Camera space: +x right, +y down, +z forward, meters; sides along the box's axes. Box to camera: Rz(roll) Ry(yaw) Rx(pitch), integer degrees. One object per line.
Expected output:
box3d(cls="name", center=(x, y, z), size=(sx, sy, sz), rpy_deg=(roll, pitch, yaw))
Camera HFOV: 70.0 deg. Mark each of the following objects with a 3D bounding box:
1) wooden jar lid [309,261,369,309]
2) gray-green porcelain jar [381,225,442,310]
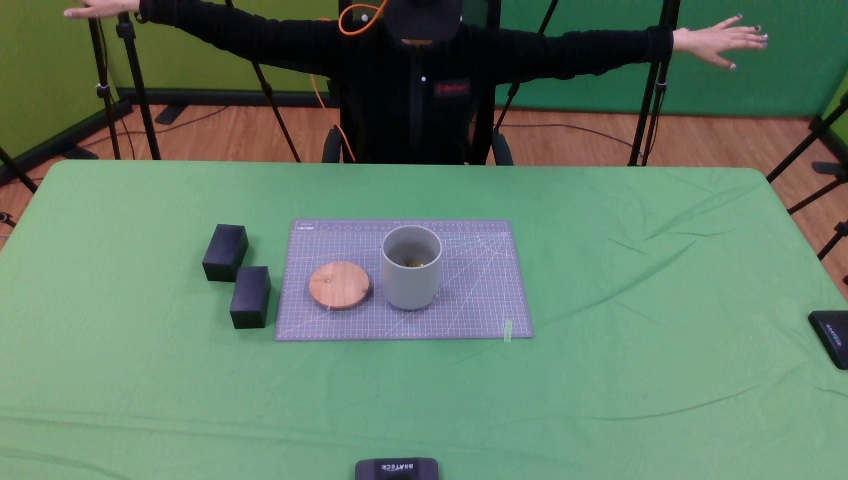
box3d(cls="wooden jar lid", center=(-0.155, 0.084, 1.104), size=(0.108, 0.021, 0.107), rpy_deg=(3, 47, -3))
box3d(cls="gray-green porcelain jar", center=(-0.023, 0.053, 1.068), size=(0.106, 0.127, 0.105), rpy_deg=(2, 46, -2))
